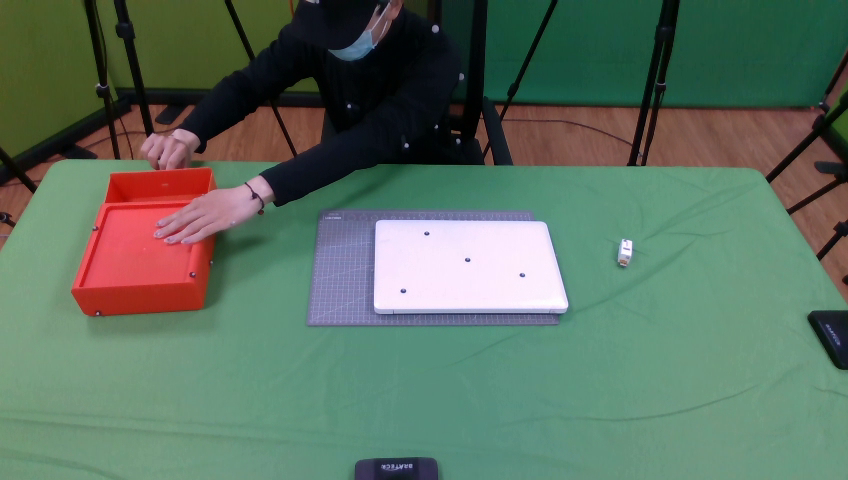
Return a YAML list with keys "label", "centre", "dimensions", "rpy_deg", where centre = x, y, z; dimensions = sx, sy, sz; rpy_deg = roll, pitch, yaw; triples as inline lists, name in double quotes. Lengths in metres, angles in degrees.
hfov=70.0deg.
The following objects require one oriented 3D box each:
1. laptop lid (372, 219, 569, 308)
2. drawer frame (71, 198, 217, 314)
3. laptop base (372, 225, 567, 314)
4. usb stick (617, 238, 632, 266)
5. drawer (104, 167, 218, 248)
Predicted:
- label: "laptop lid"
  centre: [0.081, 0.039, 1.152]
  dimensions: [0.357, 0.013, 0.240]
  rpy_deg: [2, 44, -3]
- label: "drawer frame"
  centre: [-0.493, 0.023, 1.096]
  dimensions: [0.202, 0.083, 0.212]
  rpy_deg: [-3, 47, -8]
- label: "laptop base"
  centre: [0.080, 0.049, 1.159]
  dimensions: [0.355, 0.023, 0.234]
  rpy_deg: [0, 43, -4]
- label: "usb stick"
  centre: [0.397, 0.025, 1.200]
  dimensions: [0.021, 0.027, 0.059]
  rpy_deg: [16, 50, 8]
- label: "drawer"
  centre: [-0.508, -0.043, 1.155]
  dimensions: [0.195, 0.073, 0.210]
  rpy_deg: [-4, 48, -8]
